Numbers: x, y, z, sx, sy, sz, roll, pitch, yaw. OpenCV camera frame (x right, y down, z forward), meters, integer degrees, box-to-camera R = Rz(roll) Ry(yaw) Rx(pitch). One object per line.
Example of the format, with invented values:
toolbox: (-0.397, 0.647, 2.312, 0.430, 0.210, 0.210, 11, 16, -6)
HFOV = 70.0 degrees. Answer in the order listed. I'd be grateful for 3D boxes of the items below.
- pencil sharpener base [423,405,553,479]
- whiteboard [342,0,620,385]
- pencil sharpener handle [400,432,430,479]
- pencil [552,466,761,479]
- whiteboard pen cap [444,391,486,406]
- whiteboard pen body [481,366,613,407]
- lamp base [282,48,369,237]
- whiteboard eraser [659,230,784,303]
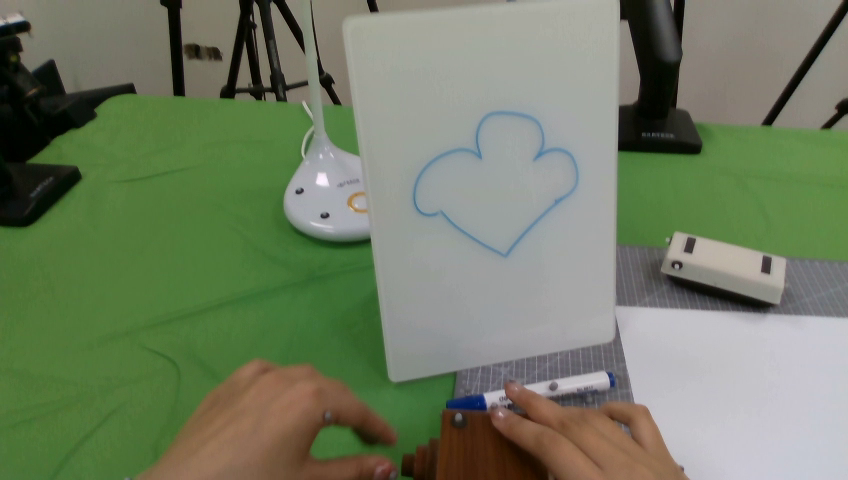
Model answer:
pencil sharpener base: (0.040, 0.164, 0.400, 0.076, 0.108, 0.061, 2, 39, 4)
whiteboard: (0.048, -0.053, 0.563, 0.217, 0.307, 0.142, -9, 19, -9)
pencil sharpener handle: (-0.012, 0.155, 0.392, 0.030, 0.068, 0.036, 2, 24, 4)
pencil: (0.122, 0.148, 0.377, 0.194, 0.012, 0.012, 3, 38, 3)
whiteboard pen cap: (0.034, 0.135, 0.501, 0.033, 0.018, 0.018, -9, 39, -9)
whiteboard pen body: (0.092, 0.126, 0.510, 0.141, 0.017, 0.017, -9, 39, -8)
lamp base: (-0.103, -0.121, 0.705, 0.161, 0.182, 0.177, -28, 43, -30)
whiteboard eraser: (0.303, 0.028, 0.619, 0.112, 0.042, 0.055, 17, 43, 21)
